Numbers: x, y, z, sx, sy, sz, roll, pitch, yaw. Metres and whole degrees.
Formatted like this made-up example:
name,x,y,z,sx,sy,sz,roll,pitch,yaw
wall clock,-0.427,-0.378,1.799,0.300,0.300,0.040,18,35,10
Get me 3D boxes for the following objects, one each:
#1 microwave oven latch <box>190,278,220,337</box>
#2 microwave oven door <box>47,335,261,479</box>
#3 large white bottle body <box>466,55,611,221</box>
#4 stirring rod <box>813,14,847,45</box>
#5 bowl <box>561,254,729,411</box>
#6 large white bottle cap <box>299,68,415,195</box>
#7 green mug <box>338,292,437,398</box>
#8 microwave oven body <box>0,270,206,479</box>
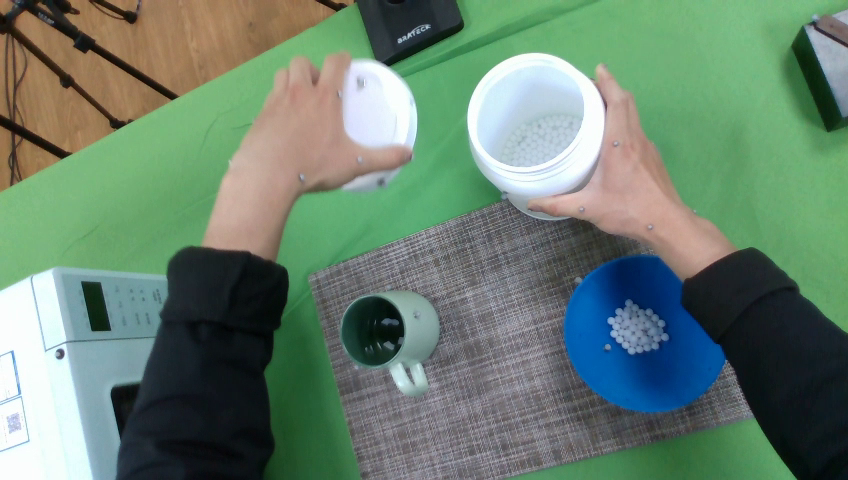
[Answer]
name,x,y,z,sx,sy,sz,roll,pitch,yaw
microwave oven latch,-0.295,0.089,0.796,0.030,0.029,0.079,-21,79,15
microwave oven door,-0.261,0.282,0.658,0.039,0.245,0.354,-23,78,15
large white bottle body,0.118,-0.097,0.612,0.130,0.186,0.130,-3,81,19
stirring rod,0.438,-0.158,0.550,0.175,0.006,0.014,39,132,18
bowl,0.220,0.092,0.614,0.151,0.077,0.151,-2,84,19
large white bottle cap,-0.062,-0.098,0.549,0.114,0.018,0.114,-2,85,25
green mug,-0.032,0.119,0.684,0.092,0.105,0.124,-29,76,13
microwave oven body,-0.404,0.297,0.710,0.326,0.261,0.439,-22,79,15
